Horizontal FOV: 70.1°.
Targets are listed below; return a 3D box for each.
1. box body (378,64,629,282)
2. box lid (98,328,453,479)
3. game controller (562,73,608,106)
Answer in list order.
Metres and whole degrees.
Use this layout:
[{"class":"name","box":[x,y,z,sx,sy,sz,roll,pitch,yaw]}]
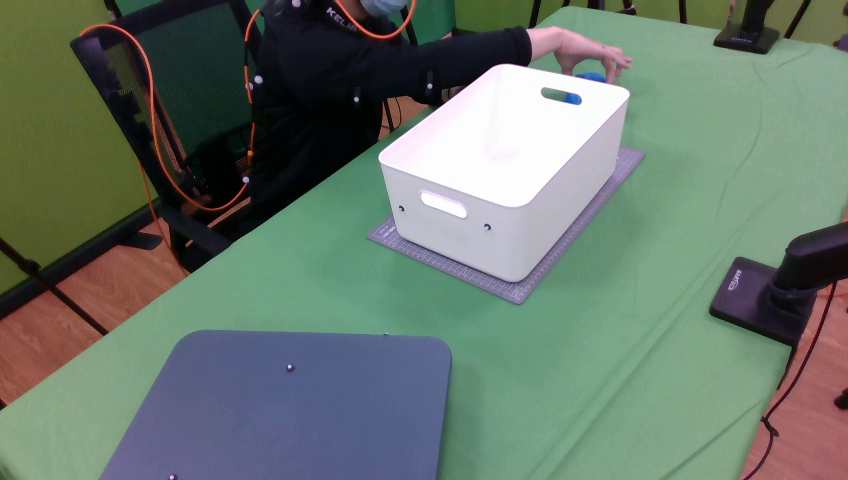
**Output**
[{"class":"box body","box":[0.137,-0.121,0.978,0.252,0.161,0.365,22,48,30]},{"class":"box lid","box":[-0.156,0.209,0.690,0.371,0.015,0.262,1,41,9]},{"class":"game controller","box":[0.326,-0.306,1.260,0.096,0.052,0.155,13,45,17]}]
